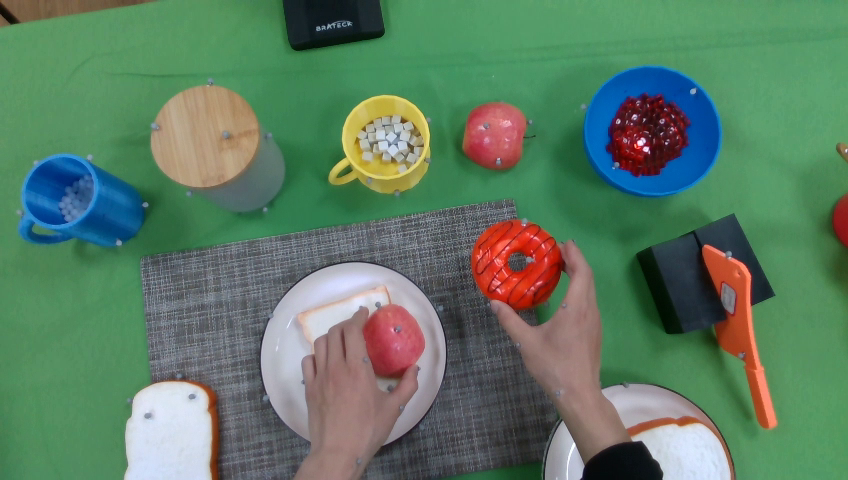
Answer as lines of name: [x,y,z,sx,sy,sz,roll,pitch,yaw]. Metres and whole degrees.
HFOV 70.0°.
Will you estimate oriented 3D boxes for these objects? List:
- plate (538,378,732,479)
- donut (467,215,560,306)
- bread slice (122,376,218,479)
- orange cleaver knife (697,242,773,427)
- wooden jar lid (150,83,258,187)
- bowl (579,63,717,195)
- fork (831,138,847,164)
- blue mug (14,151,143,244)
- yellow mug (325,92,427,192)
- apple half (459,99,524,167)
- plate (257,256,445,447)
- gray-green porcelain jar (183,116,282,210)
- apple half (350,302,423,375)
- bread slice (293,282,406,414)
plate: [0.226,0.256,0.662,0.209,0.038,0.208,0,81,0]
donut: [0.095,0.022,0.645,0.099,0.048,0.098,0,81,-1]
bread slice: [-0.286,0.220,0.677,0.105,0.019,0.131,-2,82,-1]
orange cleaver knife: [0.339,0.103,0.664,0.012,0.077,0.212,-21,103,-10]
wooden jar lid: [-0.221,-0.105,0.614,0.108,0.021,0.108,0,79,1]
bowl: [0.247,-0.117,0.701,0.151,0.077,0.151,0,81,1]
fork: [0.481,-0.057,0.656,0.209,0.018,0.028,29,79,-38]
blue mug: [-0.393,-0.035,0.677,0.116,0.106,0.082,-35,82,-5]
yellow mug: [-0.059,-0.105,0.707,0.131,0.064,0.099,-33,82,-4]
apple half: [0.081,-0.132,0.718,0.074,0.053,0.080,12,81,5]
plate: [-0.080,0.123,0.681,0.208,0.039,0.207,0,81,0]
gray-green porcelain jar: [-0.220,-0.093,0.676,0.106,0.127,0.105,0,80,0]
apple half: [-0.040,0.107,0.651,0.081,0.033,0.081,-1,79,4]
bread slice: [-0.075,0.124,0.676,0.107,0.018,0.134,-21,81,3]
